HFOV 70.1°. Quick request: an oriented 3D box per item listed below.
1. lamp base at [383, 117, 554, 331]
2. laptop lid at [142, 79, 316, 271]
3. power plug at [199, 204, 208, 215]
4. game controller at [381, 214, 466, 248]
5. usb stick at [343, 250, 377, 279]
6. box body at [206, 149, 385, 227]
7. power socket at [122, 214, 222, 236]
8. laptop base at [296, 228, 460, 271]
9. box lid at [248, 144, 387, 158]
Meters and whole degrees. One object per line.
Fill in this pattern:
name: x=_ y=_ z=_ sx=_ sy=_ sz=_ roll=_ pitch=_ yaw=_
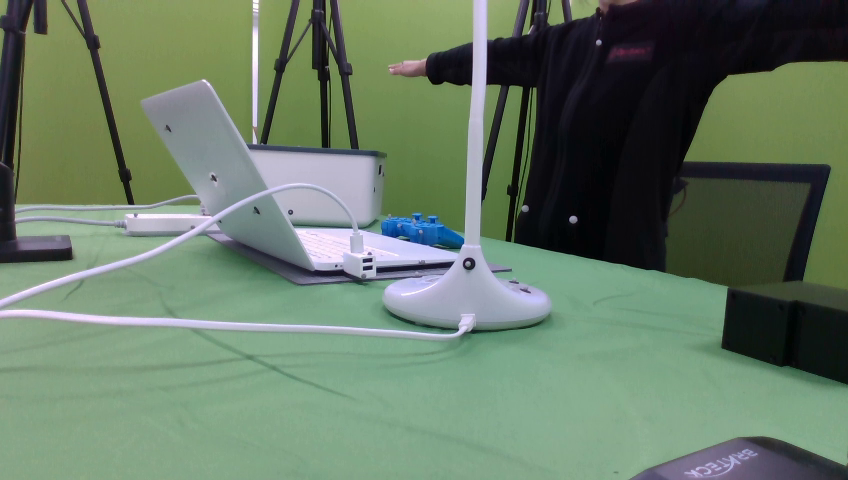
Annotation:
lamp base: x=0.045 y=-0.019 z=0.547 sx=0.161 sy=0.180 sz=0.179 roll=2 pitch=10 yaw=-4
laptop lid: x=-0.265 y=-0.082 z=0.775 sx=0.013 sy=0.242 sz=0.355 roll=-37 pitch=28 yaw=-25
power plug: x=-0.387 y=-0.055 z=1.089 sx=0.035 sy=0.052 sz=0.072 roll=-1 pitch=6 yaw=-22
game controller: x=-0.006 y=-0.017 z=1.039 sx=0.097 sy=0.051 sz=0.154 roll=-5 pitch=10 yaw=-33
usb stick: x=-0.076 y=0.026 z=0.687 sx=0.021 sy=0.027 sz=0.059 roll=-8 pitch=9 yaw=-31
box body: x=-0.276 y=-0.124 z=1.334 sx=0.364 sy=0.160 sz=0.254 roll=3 pitch=7 yaw=1
power socket: x=-0.398 y=-0.028 z=1.049 sx=0.228 sy=0.032 sz=0.072 roll=-3 pitch=8 yaw=-34
laptop base: x=-0.122 y=0.011 z=0.889 sx=0.237 sy=0.023 sz=0.352 roll=2 pitch=6 yaw=-35
box lid: x=-0.275 y=-0.197 z=1.326 sx=0.372 sy=0.015 sz=0.263 roll=4 pitch=8 yaw=1
